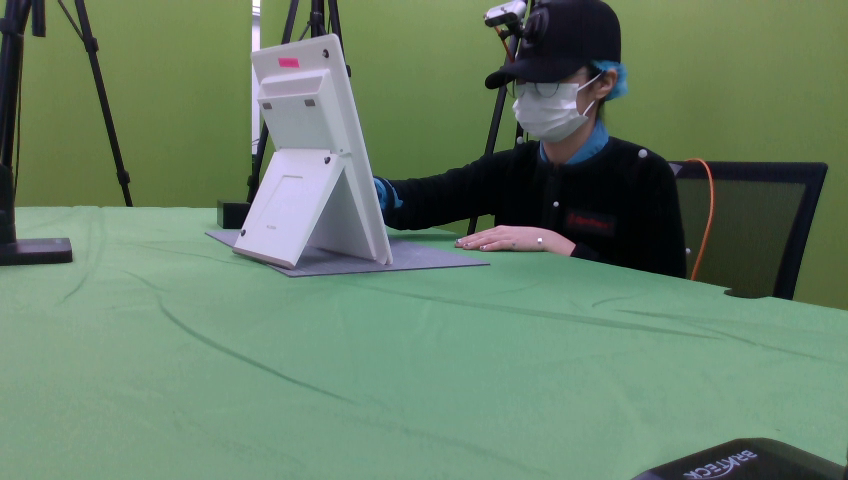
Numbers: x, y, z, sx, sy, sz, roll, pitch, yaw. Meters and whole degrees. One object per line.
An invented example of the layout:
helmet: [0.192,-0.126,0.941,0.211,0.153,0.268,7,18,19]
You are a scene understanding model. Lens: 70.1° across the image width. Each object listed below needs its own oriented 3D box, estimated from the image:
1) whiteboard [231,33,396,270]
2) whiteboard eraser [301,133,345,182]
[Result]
whiteboard: [-0.193,-0.094,0.805,0.144,0.305,0.216,-29,25,-35]
whiteboard eraser: [-0.144,-0.115,0.854,0.019,0.041,0.101,-31,-2,-41]
